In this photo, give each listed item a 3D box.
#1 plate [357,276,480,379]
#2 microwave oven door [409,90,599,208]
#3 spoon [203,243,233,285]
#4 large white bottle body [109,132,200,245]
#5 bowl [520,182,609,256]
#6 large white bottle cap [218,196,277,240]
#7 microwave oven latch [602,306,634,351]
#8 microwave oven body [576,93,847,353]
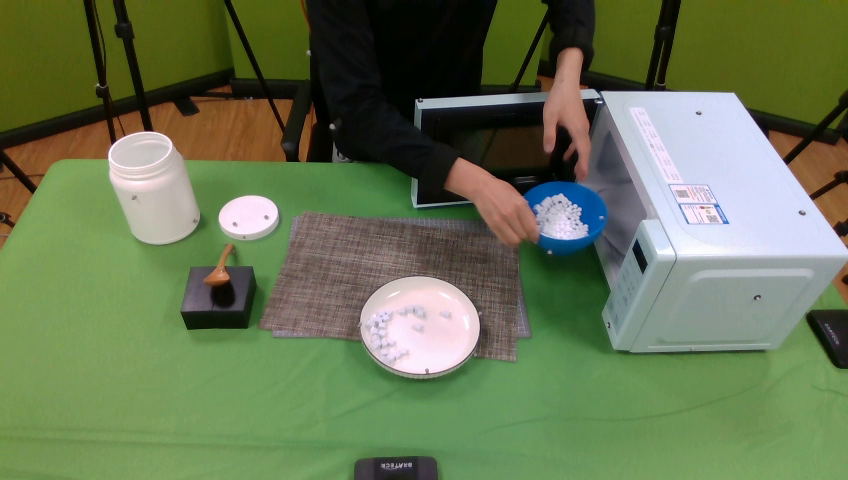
[{"bbox_3d":[-0.010,0.151,1.038,0.209,0.038,0.208,2,47,-2],"label":"plate"},{"bbox_3d":[0.152,-0.180,1.212,0.356,0.245,0.039,-5,46,-10],"label":"microwave oven door"},{"bbox_3d":[-0.360,0.039,1.087,0.041,0.022,0.192,-5,24,-7],"label":"spoon"},{"bbox_3d":[-0.506,-0.097,1.141,0.131,0.185,0.130,2,46,-2],"label":"large white bottle body"},{"bbox_3d":[0.245,-0.025,1.071,0.151,0.077,0.150,-3,45,3],"label":"bowl"},{"bbox_3d":[-0.354,-0.045,1.220,0.115,0.018,0.114,2,46,-2],"label":"large white bottle cap"},{"bbox_3d":[0.332,0.153,1.044,0.030,0.029,0.078,0,45,-4],"label":"microwave oven latch"},{"bbox_3d":[0.475,-0.041,1.109,0.326,0.261,0.438,-1,45,-4],"label":"microwave oven body"}]
